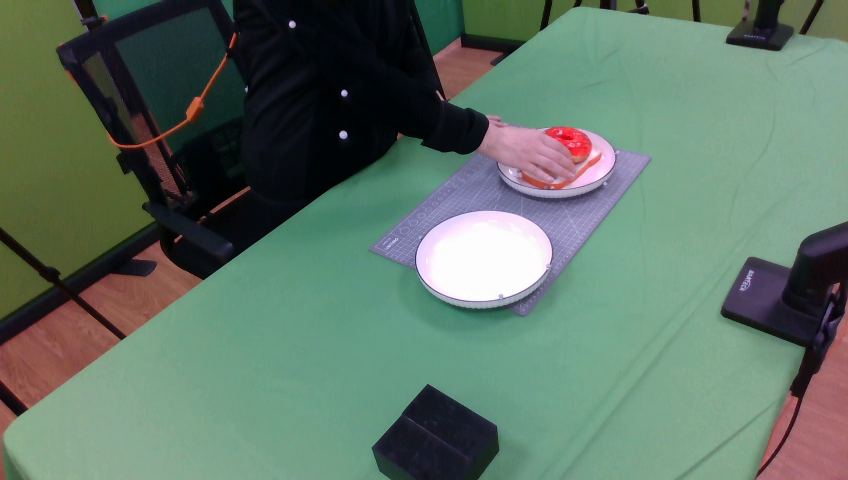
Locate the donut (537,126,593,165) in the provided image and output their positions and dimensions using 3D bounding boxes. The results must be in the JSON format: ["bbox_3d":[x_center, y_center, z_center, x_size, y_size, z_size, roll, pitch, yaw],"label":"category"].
[{"bbox_3d":[0.251,-0.168,1.073,0.099,0.048,0.098,2,35,-1],"label":"donut"}]

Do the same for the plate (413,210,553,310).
[{"bbox_3d":[0.089,0.033,0.914,0.207,0.039,0.206,-5,40,5],"label":"plate"}]

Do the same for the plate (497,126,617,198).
[{"bbox_3d":[0.236,-0.136,1.085,0.209,0.038,0.208,-5,40,5],"label":"plate"}]

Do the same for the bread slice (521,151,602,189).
[{"bbox_3d":[0.242,-0.135,1.086,0.106,0.018,0.135,24,48,33],"label":"bread slice"}]
